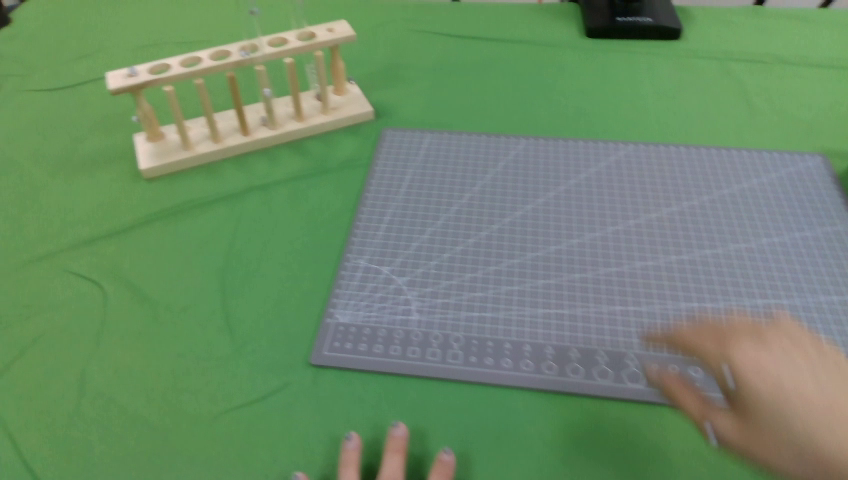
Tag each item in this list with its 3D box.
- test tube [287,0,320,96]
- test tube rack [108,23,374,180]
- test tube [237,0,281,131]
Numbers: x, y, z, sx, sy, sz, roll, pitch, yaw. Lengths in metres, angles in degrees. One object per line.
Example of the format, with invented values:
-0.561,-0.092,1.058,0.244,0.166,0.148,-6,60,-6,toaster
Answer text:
-0.124,-0.211,0.616,0.017,0.152,0.017,-3,48,4,test tube
-0.179,-0.145,0.624,0.243,0.086,0.066,-18,48,-15,test tube rack
-0.158,-0.170,0.585,0.017,0.152,0.017,0,46,0,test tube
